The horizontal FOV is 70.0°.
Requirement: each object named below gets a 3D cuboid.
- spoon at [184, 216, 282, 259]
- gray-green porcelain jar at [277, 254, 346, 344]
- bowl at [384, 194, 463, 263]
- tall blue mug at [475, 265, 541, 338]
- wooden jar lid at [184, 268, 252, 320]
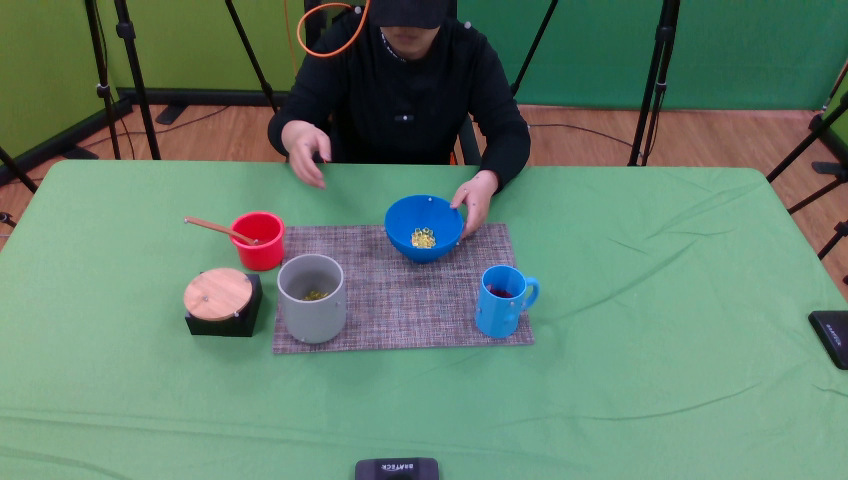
[{"bbox_3d":[-0.341,-0.008,1.096,0.021,0.195,0.041,-36,47,26],"label":"spoon"},{"bbox_3d":[-0.184,0.102,1.008,0.106,0.127,0.105,2,46,-2],"label":"gray-green porcelain jar"},{"bbox_3d":[-0.002,-0.010,1.164,0.151,0.077,0.150,2,46,-2],"label":"bowl"},{"bbox_3d":[0.142,0.098,1.047,0.077,0.108,0.107,33,53,27],"label":"tall blue mug"},{"bbox_3d":[-0.343,0.092,1.015,0.108,0.021,0.107,3,46,-3],"label":"wooden jar lid"}]
